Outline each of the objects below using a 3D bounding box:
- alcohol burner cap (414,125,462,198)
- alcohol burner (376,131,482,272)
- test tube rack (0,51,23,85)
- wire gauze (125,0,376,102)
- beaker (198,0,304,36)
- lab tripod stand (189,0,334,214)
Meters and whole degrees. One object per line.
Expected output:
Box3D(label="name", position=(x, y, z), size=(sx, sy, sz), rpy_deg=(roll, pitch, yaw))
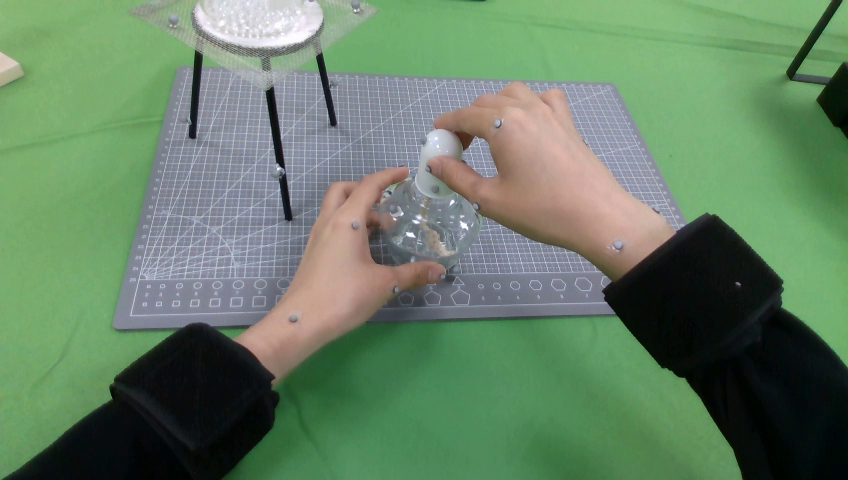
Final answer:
Box3D(label="alcohol burner cap", position=(0.011, -0.054, 0.405), size=(0.034, 0.048, 0.033), rpy_deg=(3, 53, -3))
Box3D(label="alcohol burner", position=(0.006, -0.032, 0.433), size=(0.078, 0.120, 0.077), rpy_deg=(6, 48, -6))
Box3D(label="test tube rack", position=(-0.451, -0.122, 0.456), size=(0.066, 0.086, 0.241), rpy_deg=(30, 52, 16))
Box3D(label="wire gauze", position=(-0.115, -0.157, 0.419), size=(0.124, 0.011, 0.121), rpy_deg=(32, 55, 12))
Box3D(label="beaker", position=(-0.114, -0.189, 0.381), size=(0.073, 0.101, 0.084), rpy_deg=(31, 53, 16))
Box3D(label="lab tripod stand", position=(-0.121, -0.115, 0.468), size=(0.149, 0.132, 0.147), rpy_deg=(6, 50, -7))
